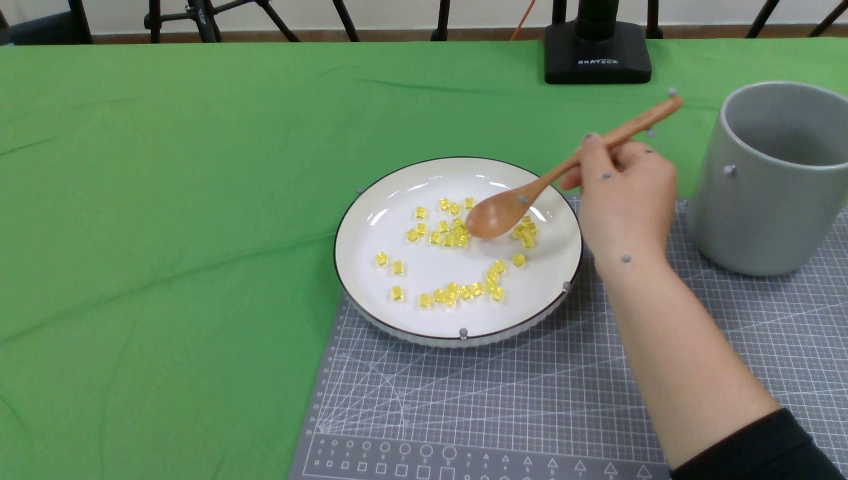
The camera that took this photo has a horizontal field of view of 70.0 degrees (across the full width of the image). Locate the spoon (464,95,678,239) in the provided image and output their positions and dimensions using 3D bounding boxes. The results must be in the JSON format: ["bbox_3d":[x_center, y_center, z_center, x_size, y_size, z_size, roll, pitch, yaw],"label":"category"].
[{"bbox_3d":[0.111,-0.055,0.482,0.194,0.022,0.041,-34,50,31],"label":"spoon"}]

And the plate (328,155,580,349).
[{"bbox_3d":[0.025,0.008,0.517,0.207,0.039,0.205,-2,48,3],"label":"plate"}]

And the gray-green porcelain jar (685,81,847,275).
[{"bbox_3d":[0.270,-0.043,0.478,0.106,0.128,0.105,-3,48,4],"label":"gray-green porcelain jar"}]
